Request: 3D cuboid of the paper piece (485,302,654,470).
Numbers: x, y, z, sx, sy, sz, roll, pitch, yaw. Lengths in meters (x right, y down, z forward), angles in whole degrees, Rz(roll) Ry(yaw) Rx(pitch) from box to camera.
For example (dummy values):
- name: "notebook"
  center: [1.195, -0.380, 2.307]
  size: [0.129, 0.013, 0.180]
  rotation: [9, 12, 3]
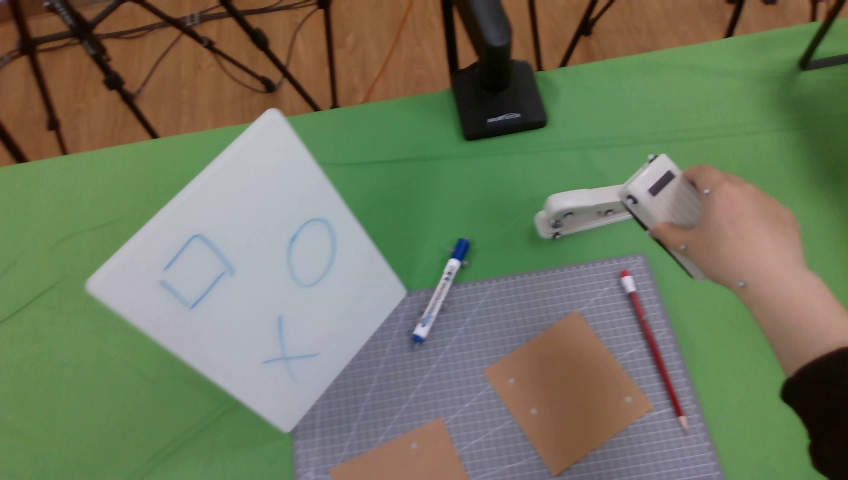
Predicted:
- name: "paper piece"
  center: [0.161, 0.159, 0.679]
  size: [0.136, 0.009, 0.137]
  rotation: [-31, 67, -5]

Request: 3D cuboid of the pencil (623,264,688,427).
- name: "pencil"
  center: [0.263, 0.115, 0.689]
  size: [0.012, 0.012, 0.192]
  rotation: [-13, 65, -1]

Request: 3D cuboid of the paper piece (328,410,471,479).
- name: "paper piece"
  center: [-0.017, 0.269, 0.641]
  size: [0.135, 0.004, 0.134]
  rotation: [-23, 65, -6]

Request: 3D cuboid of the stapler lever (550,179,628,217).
- name: "stapler lever"
  center: [0.213, -0.055, 0.747]
  size: [0.118, 0.040, 0.026]
  rotation: [-15, 66, -2]

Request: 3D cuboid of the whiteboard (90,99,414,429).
- name: "whiteboard"
  center: [-0.181, 0.021, 0.649]
  size: [0.142, 0.309, 0.217]
  rotation: [28, 69, 40]

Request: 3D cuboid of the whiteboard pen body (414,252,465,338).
- name: "whiteboard pen body"
  center: [0.024, 0.055, 0.738]
  size: [0.017, 0.017, 0.140]
  rotation: [22, 67, 16]

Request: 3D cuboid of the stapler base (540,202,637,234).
- name: "stapler base"
  center: [0.214, -0.043, 0.768]
  size: [0.130, 0.024, 0.041]
  rotation: [-14, 66, -3]

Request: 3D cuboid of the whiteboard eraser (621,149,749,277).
- name: "whiteboard eraser"
  center: [0.236, -0.024, 0.553]
  size: [0.055, 0.042, 0.112]
  rotation: [-42, 88, -9]

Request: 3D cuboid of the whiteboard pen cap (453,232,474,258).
- name: "whiteboard pen cap"
  center: [0.050, 0.007, 0.758]
  size: [0.018, 0.018, 0.033]
  rotation: [19, 66, 15]
